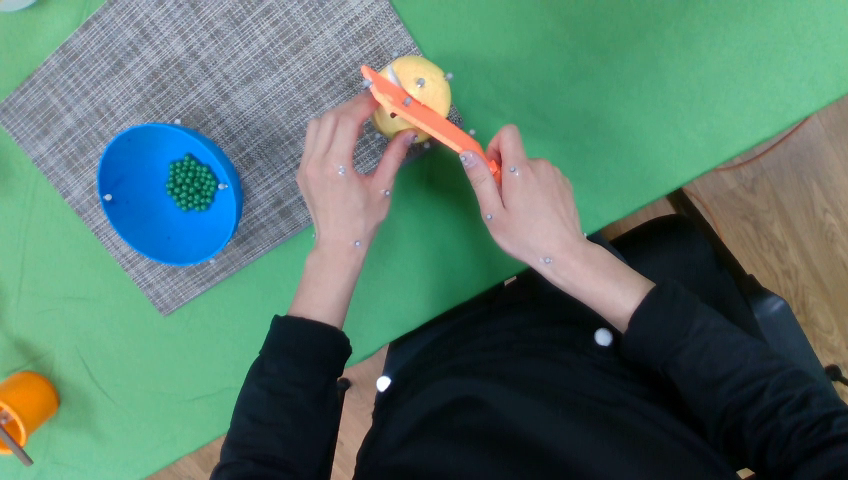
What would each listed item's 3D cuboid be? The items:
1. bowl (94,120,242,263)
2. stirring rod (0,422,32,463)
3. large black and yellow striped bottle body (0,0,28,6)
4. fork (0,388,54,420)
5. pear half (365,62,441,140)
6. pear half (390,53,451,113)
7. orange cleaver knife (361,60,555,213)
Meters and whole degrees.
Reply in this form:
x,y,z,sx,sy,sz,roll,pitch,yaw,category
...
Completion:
x,y,z,sx,sy,sz,roll,pitch,yaw,category
-0.256,-0.059,0.645,0.151,0.076,0.152,3,112,8,bowl
-0.559,0.216,0.767,0.014,0.006,0.177,-26,106,16,stirring rod
-0.451,-0.277,0.535,0.130,0.183,0.131,3,111,8,large black and yellow striped bottle body
-0.597,0.247,0.787,0.207,0.018,0.028,-25,122,-28,fork
-0.027,-0.121,0.566,0.076,0.109,0.056,41,113,-4,pear half
0.002,-0.151,0.561,0.070,0.087,0.031,36,107,-6,pear half
0.033,-0.091,0.541,0.213,0.076,0.012,32,111,-22,orange cleaver knife
